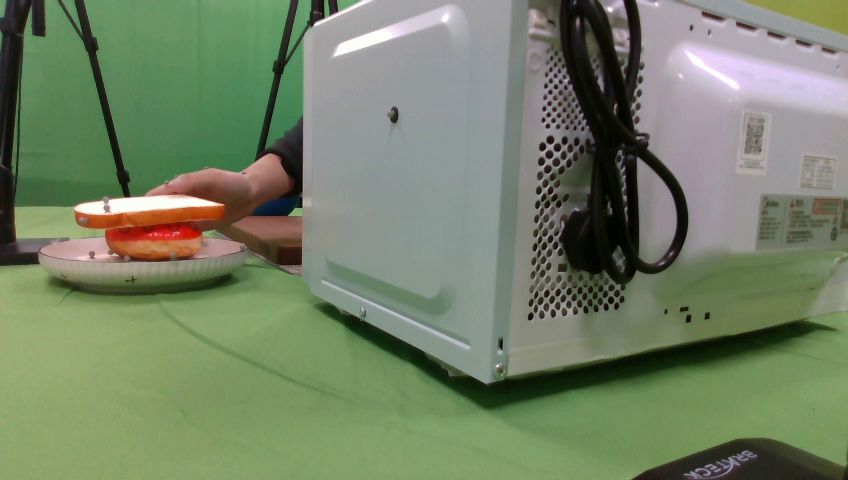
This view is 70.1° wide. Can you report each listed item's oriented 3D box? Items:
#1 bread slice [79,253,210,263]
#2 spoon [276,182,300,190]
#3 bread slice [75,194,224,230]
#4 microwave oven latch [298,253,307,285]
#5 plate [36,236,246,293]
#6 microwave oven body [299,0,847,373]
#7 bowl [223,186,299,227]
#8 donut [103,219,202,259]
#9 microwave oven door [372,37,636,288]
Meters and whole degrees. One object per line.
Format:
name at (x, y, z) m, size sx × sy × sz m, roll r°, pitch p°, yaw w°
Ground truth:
bread slice at (-0.302, 0.027, 0.662) m, size 0.132 × 0.019 × 0.104 m, roll -4°, pitch 8°, yaw -45°
spoon at (-0.300, -0.102, 1.266) m, size 0.194 × 0.021 × 0.041 m, roll -23°, pitch 12°, yaw -24°
bread slice at (-0.301, -0.032, 0.659) m, size 0.106 × 0.018 × 0.135 m, roll 10°, pitch 16°, yaw 41°
microwave oven latch at (-0.081, 0.027, 0.582) m, size 0.079 × 0.029 × 0.030 m, roll -1°, pitch 7°, yaw -32°
plate at (-0.305, 0.026, 0.668) m, size 0.208 × 0.039 × 0.207 m, roll 2°, pitch 7°, yaw 0°
microwave oven body at (0.151, -0.055, 0.542) m, size 0.444 × 0.260 × 0.324 m, roll -2°, pitch 7°, yaw -33°
bowl at (-0.330, -0.068, 1.230) m, size 0.151 × 0.077 × 0.151 m, roll 3°, pitch 7°, yaw 0°
donut at (-0.298, -0.004, 0.668) m, size 0.099 × 0.048 × 0.099 m, roll 3°, pitch 1°, yaw 0°
microwave oven door at (0.110, -0.080, 0.686) m, size 0.358 × 0.243 × 0.039 m, roll -2°, pitch 9°, yaw -33°
